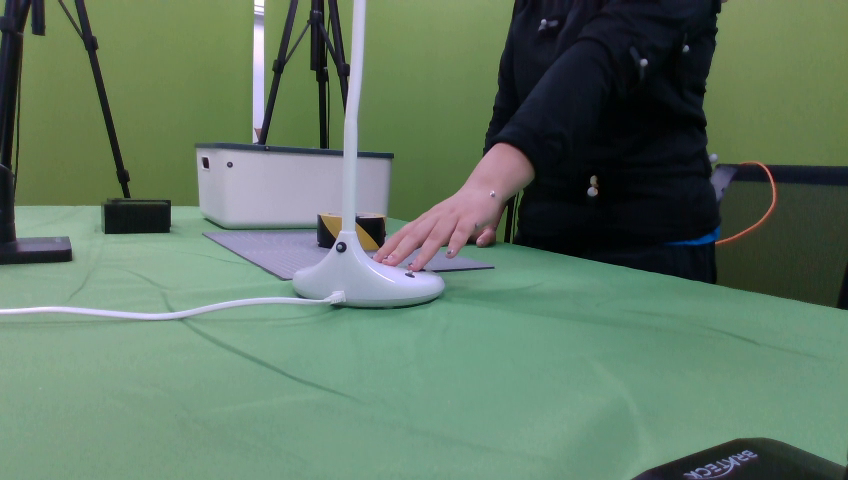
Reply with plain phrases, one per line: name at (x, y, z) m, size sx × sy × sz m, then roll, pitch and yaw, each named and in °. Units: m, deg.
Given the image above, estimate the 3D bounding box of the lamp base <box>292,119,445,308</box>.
lamp base at (-0.057, -0.030, 0.616) m, size 0.160 × 0.180 × 0.179 m, roll 3°, pitch 10°, yaw 8°

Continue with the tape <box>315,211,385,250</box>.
tape at (-0.119, -0.017, 0.973) m, size 0.117 × 0.052 × 0.117 m, roll 2°, pitch 7°, yaw 0°

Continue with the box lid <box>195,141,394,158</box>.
box lid at (-0.277, -0.189, 1.282) m, size 0.373 × 0.015 × 0.262 m, roll -1°, pitch 8°, yaw -30°

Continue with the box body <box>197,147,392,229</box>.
box body at (-0.278, -0.117, 1.292) m, size 0.366 × 0.160 × 0.253 m, roll -2°, pitch 8°, yaw -30°
